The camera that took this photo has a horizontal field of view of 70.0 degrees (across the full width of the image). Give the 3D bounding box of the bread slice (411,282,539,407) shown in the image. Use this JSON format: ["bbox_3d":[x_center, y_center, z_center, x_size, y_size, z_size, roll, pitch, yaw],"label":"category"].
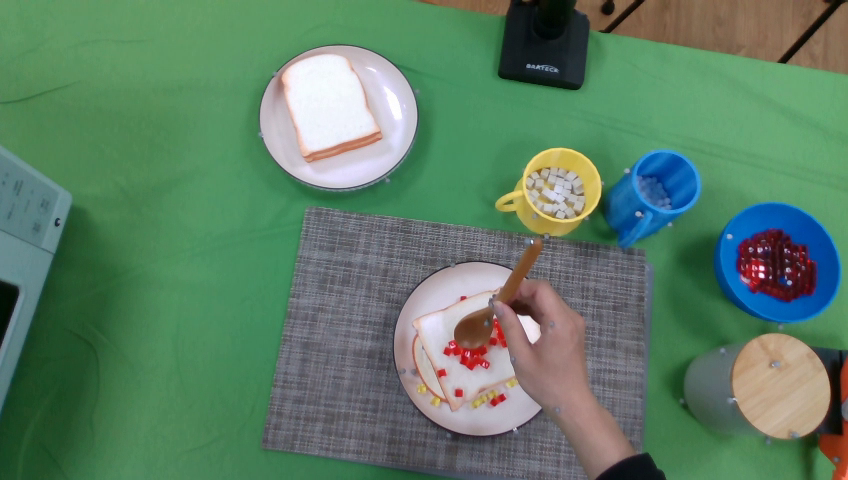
[{"bbox_3d":[0.062,0.106,0.678,0.134,0.018,0.107,-26,86,-16],"label":"bread slice"}]

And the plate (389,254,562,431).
[{"bbox_3d":[0.061,0.123,0.735,0.209,0.038,0.208,1,76,-3],"label":"plate"}]

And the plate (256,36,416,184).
[{"bbox_3d":[-0.115,-0.169,0.804,0.208,0.039,0.206,1,76,-3],"label":"plate"}]

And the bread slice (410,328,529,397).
[{"bbox_3d":[0.051,0.131,0.736,0.131,0.019,0.104,-23,77,-11],"label":"bread slice"}]

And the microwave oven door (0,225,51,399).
[{"bbox_3d":[-0.493,0.143,0.579,0.039,0.245,0.354,10,75,0],"label":"microwave oven door"}]

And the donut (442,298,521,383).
[{"bbox_3d":[0.068,0.117,0.708,0.099,0.048,0.098,5,76,-20],"label":"donut"}]

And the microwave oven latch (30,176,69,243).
[{"bbox_3d":[-0.458,-0.039,0.732,0.030,0.029,0.079,13,76,0],"label":"microwave oven latch"}]

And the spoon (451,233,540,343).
[{"bbox_3d":[0.071,0.053,0.591,0.042,0.194,0.021,15,55,-10],"label":"spoon"}]

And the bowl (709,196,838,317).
[{"bbox_3d":[0.421,0.028,0.762,0.151,0.077,0.150,1,76,-3],"label":"bowl"}]

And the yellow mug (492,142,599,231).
[{"bbox_3d":[0.151,-0.064,0.777,0.131,0.064,0.099,-12,75,-4],"label":"yellow mug"}]

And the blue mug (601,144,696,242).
[{"bbox_3d":[0.271,-0.048,0.760,0.082,0.106,0.116,28,76,5],"label":"blue mug"}]

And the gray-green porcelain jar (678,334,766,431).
[{"bbox_3d":[0.365,0.164,0.699,0.106,0.127,0.105,1,75,-3],"label":"gray-green porcelain jar"}]

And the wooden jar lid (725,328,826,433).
[{"bbox_3d":[0.367,0.147,0.639,0.108,0.021,0.108,1,78,-4],"label":"wooden jar lid"}]

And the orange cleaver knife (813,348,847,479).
[{"bbox_3d":[0.484,0.233,0.710,0.012,0.077,0.212,7,102,0],"label":"orange cleaver knife"}]

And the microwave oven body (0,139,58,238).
[{"bbox_3d":[-0.629,0.079,0.593,0.326,0.261,0.439,10,76,-1],"label":"microwave oven body"}]
